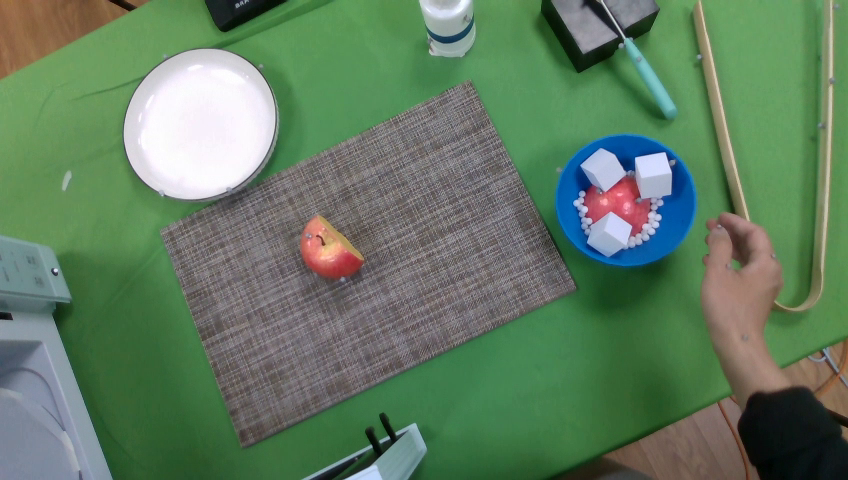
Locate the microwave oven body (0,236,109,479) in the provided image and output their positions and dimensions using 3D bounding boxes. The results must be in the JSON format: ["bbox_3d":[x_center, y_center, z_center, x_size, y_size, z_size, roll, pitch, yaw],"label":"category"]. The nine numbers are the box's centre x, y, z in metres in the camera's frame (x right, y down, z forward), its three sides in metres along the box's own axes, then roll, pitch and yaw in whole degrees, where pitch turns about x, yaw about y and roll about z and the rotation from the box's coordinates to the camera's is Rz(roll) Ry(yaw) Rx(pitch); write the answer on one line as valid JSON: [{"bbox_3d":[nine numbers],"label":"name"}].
[{"bbox_3d":[-0.548,0.249,0.643,0.326,0.261,0.439,-27,80,1],"label":"microwave oven body"}]

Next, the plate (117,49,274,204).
[{"bbox_3d":[-0.295,-0.145,0.795,0.207,0.039,0.207,-1,81,6],"label":"plate"}]

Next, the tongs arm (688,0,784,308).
[{"bbox_3d":[0.362,-0.109,0.720,0.028,0.028,0.386,-9,80,2],"label":"tongs arm"}]

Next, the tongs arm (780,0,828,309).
[{"bbox_3d":[0.443,-0.111,0.708,0.050,0.026,0.383,4,82,7],"label":"tongs arm"}]

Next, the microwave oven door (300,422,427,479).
[{"bbox_3d":[-0.174,0.288,0.591,0.356,0.245,0.039,-27,78,1],"label":"microwave oven door"}]

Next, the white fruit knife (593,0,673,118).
[{"bbox_3d":[0.238,-0.233,0.724,0.016,0.027,0.208,-34,95,18],"label":"white fruit knife"}]

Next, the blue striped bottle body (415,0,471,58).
[{"bbox_3d":[0.024,-0.278,0.738,0.063,0.121,0.063,-1,80,7],"label":"blue striped bottle body"}]

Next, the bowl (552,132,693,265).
[{"bbox_3d":[0.221,-0.040,0.699,0.151,0.077,0.151,-1,80,7],"label":"bowl"}]

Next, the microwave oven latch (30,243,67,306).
[{"bbox_3d":[-0.484,0.044,0.767,0.030,0.029,0.079,-27,80,1],"label":"microwave oven latch"}]

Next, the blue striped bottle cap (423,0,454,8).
[{"bbox_3d":[0.017,-0.288,0.688,0.044,0.021,0.044,-1,83,6],"label":"blue striped bottle cap"}]

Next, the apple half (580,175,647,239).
[{"bbox_3d":[0.221,-0.041,0.696,0.081,0.033,0.081,-1,81,8],"label":"apple half"}]

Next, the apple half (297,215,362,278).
[{"bbox_3d":[-0.119,0.015,0.728,0.080,0.075,0.053,44,93,8],"label":"apple half"}]
